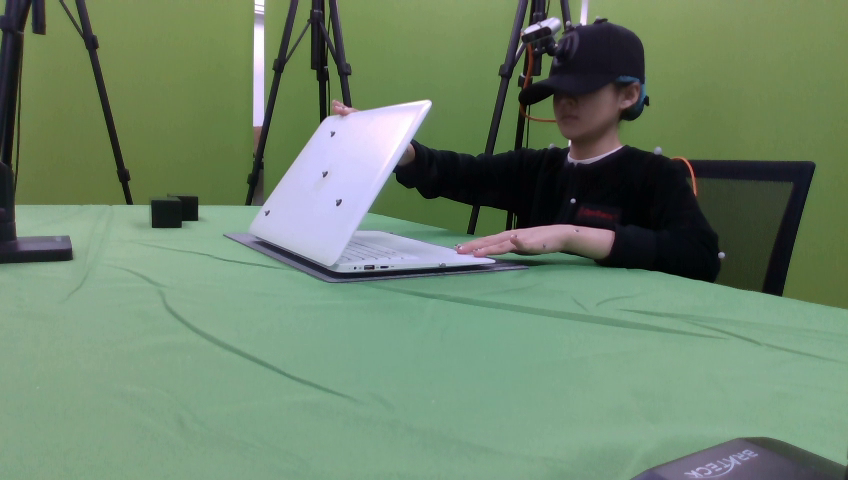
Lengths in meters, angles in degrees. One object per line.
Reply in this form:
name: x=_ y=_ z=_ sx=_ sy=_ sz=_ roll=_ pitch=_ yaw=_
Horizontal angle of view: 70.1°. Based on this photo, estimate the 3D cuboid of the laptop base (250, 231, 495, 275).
laptop base: x=-0.093 y=0.016 z=0.884 sx=0.237 sy=0.023 sz=0.352 roll=3 pitch=6 yaw=-32

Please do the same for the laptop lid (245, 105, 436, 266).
laptop lid: x=-0.135 y=-0.088 z=0.840 sx=0.013 sy=0.241 sz=0.355 roll=39 pitch=-12 yaw=-30
